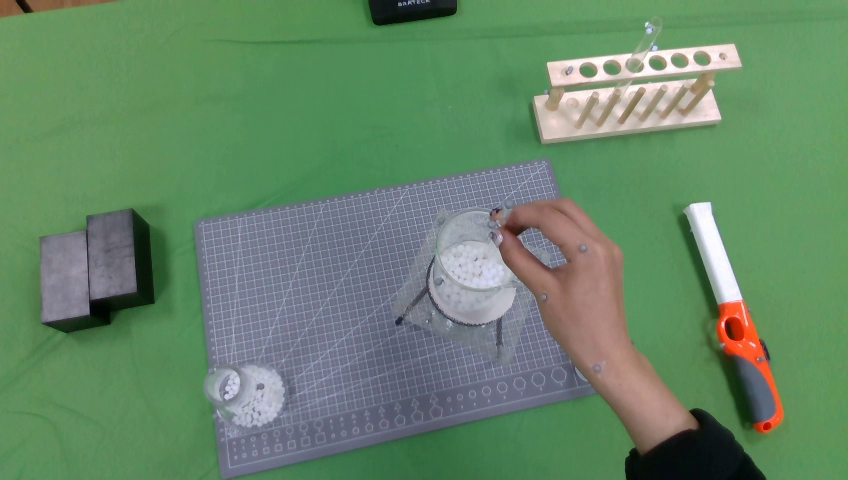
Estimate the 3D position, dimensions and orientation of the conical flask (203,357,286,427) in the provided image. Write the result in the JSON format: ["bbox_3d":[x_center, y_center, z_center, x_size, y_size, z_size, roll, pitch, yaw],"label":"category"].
[{"bbox_3d":[-0.186,0.148,0.613,0.075,0.122,0.075,1,71,-3],"label":"conical flask"}]

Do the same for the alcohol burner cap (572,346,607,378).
[{"bbox_3d":[0.189,0.135,0.681,0.034,0.048,0.033,1,70,-3],"label":"alcohol burner cap"}]

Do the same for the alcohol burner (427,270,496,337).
[{"bbox_3d":[0.042,0.065,0.659,0.078,0.120,0.077,0,72,-1],"label":"alcohol burner"}]

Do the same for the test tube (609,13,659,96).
[{"bbox_3d":[0.251,-0.219,0.731,0.017,0.151,0.017,0,71,0],"label":"test tube"}]

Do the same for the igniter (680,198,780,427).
[{"bbox_3d":[0.362,0.079,0.720,0.057,0.025,0.274,-6,72,-16],"label":"igniter"}]

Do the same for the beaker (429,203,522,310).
[{"bbox_3d":[0.044,0.021,0.543,0.083,0.101,0.074,37,74,9],"label":"beaker"}]

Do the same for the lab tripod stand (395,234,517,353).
[{"bbox_3d":[0.040,0.059,0.650,0.148,0.132,0.147,1,73,-2],"label":"lab tripod stand"}]

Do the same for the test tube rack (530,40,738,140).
[{"bbox_3d":[0.267,-0.191,0.775,0.243,0.085,0.066,-7,71,-5],"label":"test tube rack"}]

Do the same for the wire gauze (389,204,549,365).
[{"bbox_3d":[0.045,0.039,0.588,0.125,0.011,0.121,25,75,4],"label":"wire gauze"}]

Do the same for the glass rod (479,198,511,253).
[{"bbox_3d":[0.055,-0.008,0.494,0.008,0.200,0.008,0,80,1],"label":"glass rod"}]
